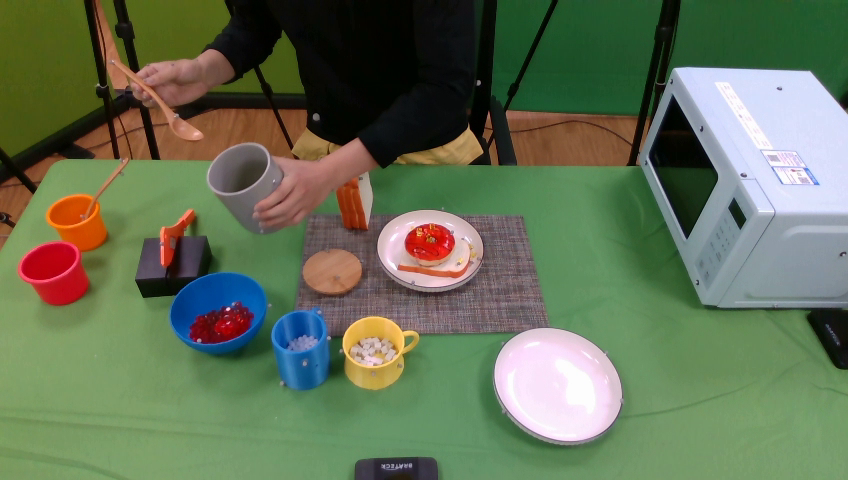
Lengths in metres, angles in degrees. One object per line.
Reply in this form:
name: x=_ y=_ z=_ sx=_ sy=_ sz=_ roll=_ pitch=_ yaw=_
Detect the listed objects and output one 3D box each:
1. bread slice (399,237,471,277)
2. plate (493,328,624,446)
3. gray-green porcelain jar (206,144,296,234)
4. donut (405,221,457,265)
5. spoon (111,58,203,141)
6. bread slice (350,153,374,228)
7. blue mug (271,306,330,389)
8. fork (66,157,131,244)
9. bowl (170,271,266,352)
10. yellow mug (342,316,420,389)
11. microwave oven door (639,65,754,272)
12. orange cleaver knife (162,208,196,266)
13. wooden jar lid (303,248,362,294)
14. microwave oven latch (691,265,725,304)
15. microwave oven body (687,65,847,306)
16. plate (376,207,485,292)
bread slice: x=0.025 y=0.025 z=1.161 sx=0.131 sy=0.019 sz=0.104 roll=7 pitch=47 yaw=8
plate: x=0.213 y=0.236 z=0.974 sx=0.208 sy=0.039 sz=0.206 roll=2 pitch=46 yaw=-2
gray-green porcelain jar: x=-0.276 y=-0.078 z=0.992 sx=0.106 sy=0.127 sz=0.105 roll=-7 pitch=57 yaw=11
donut: x=0.013 y=0.004 z=1.136 sx=0.099 sy=0.048 sz=0.098 roll=0 pitch=46 yaw=0
spoon: x=-0.433 y=-0.227 z=0.980 sx=0.194 sy=0.021 sz=0.041 roll=47 pitch=38 yaw=-1
bread slice: x=-0.124 y=-0.104 z=1.207 sx=0.018 sy=0.135 sz=0.106 roll=-2 pitch=48 yaw=7
blue mug: x=-0.188 y=0.163 z=0.969 sx=0.082 sy=0.106 sz=0.116 roll=15 pitch=47 yaw=10
fork: x=-0.608 y=-0.074 z=1.132 sx=0.207 sy=0.019 sz=0.028 roll=-52 pitch=49 yaw=10
bowl: x=-0.334 y=0.132 z=1.006 sx=0.151 sy=0.077 sz=0.150 roll=3 pitch=46 yaw=-2
yellow mug: x=-0.068 y=0.178 z=0.990 sx=0.131 sy=0.064 sz=0.099 roll=-15 pitch=49 yaw=-20
microwave oven door: x=0.522 y=-0.147 z=1.192 sx=0.039 sy=0.245 sz=0.353 roll=0 pitch=47 yaw=-3
orange cleaver knife: x=-0.454 y=-0.010 z=1.129 sx=0.012 sy=0.077 sz=0.210 roll=-1 pitch=17 yaw=-6
wooden jar lid: x=-0.169 y=0.059 z=1.122 sx=0.108 sy=0.021 sz=0.107 roll=2 pitch=45 yaw=-2
microwave oven latch: x=0.521 y=0.081 z=1.116 sx=0.030 sy=0.029 sz=0.078 roll=0 pitch=46 yaw=-3
microwave oven body: x=0.669 y=-0.111 z=1.176 sx=0.326 sy=0.261 sz=0.439 roll=0 pitch=46 yaw=-3
plate: x=0.012 y=0.021 z=1.159 sx=0.209 sy=0.038 sz=0.208 roll=2 pitch=47 yaw=-2
